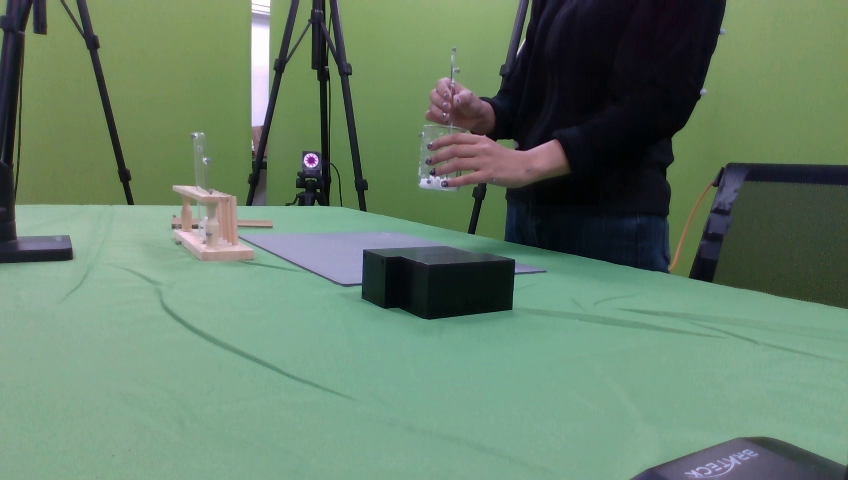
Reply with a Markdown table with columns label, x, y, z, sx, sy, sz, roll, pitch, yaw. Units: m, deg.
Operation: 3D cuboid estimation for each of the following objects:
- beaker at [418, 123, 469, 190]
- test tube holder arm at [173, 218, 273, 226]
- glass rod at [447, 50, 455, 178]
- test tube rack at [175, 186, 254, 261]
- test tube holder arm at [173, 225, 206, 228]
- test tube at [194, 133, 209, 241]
| label | x | y | z | sx | sy | sz | roll | pitch | yaw |
| --- | --- | --- | --- | --- | --- | --- | --- | --- | --- |
| beaker | 0.028 | -0.133 | 0.972 | 0.074 | 0.100 | 0.084 | 4 | 4 | -13 |
| test tube holder arm | -0.371 | -0.033 | 1.128 | 0.179 | 0.015 | 0.013 | -1 | -22 | -26 |
| glass rod | 0.043 | -0.197 | 0.944 | 0.008 | 0.199 | 0.008 | 2 | 1 | 0 |
| test tube rack | -0.314 | -0.031 | 0.889 | 0.067 | 0.085 | 0.241 | -2 | 8 | -30 |
| test tube holder arm | -0.415 | -0.030 | 1.113 | 0.088 | 0.015 | 0.010 | -1 | -22 | -25 |
| test tube | -0.307 | -0.074 | 0.842 | 0.017 | 0.150 | 0.017 | -3 | 2 | 0 |
